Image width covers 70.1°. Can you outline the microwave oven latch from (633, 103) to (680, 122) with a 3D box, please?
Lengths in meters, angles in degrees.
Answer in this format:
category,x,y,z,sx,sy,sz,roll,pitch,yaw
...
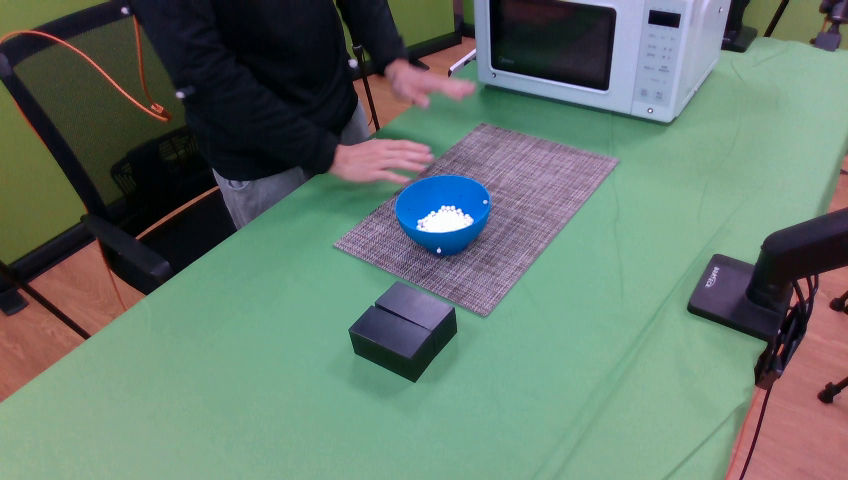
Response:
category,x,y,z,sx,sy,sz,roll,pitch,yaw
microwave oven latch,0.443,-0.249,1.157,0.078,0.029,0.030,21,48,30

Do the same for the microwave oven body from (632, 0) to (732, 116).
category,x,y,z,sx,sy,sz,roll,pitch,yaw
microwave oven body,0.377,-0.462,1.267,0.438,0.261,0.327,21,48,30

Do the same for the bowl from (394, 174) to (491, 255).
category,x,y,z,sx,sy,sz,roll,pitch,yaw
bowl,0.032,-0.030,0.949,0.151,0.077,0.150,-4,40,4

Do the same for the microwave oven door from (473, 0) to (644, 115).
category,x,y,z,sx,sy,sz,roll,pitch,yaw
microwave oven door,0.257,-0.396,1.199,0.353,0.245,0.039,21,48,29
